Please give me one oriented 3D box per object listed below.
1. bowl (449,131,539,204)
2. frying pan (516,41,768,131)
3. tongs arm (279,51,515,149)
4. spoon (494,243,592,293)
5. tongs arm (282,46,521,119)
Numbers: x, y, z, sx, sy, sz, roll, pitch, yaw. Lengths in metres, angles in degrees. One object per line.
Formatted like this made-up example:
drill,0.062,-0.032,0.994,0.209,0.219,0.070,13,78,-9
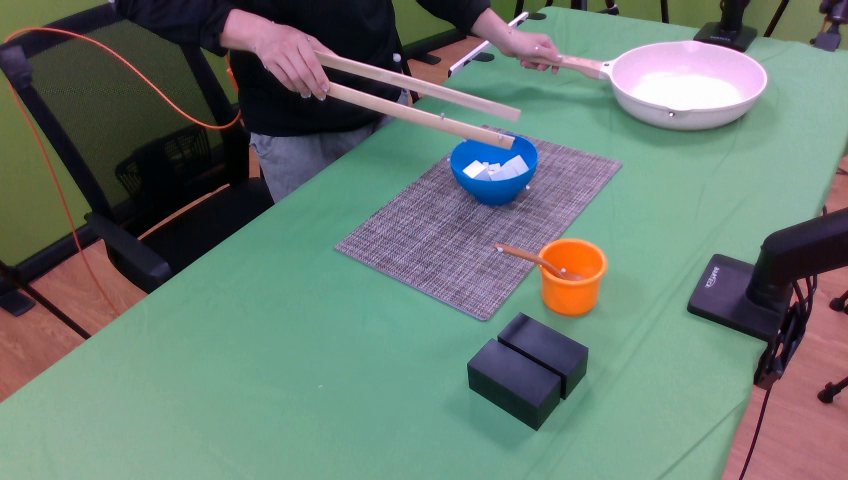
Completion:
bowl,0.120,-0.114,1.034,0.151,0.077,0.150,-4,41,4
frying pan,0.423,-0.338,1.236,0.486,0.103,0.307,18,45,15
tongs arm,-0.045,-0.217,0.938,0.385,0.026,0.050,15,55,-1
spoon,0.161,0.034,0.808,0.021,0.195,0.041,-48,40,20
tongs arm,-0.034,-0.249,0.963,0.388,0.028,0.028,14,59,-2
